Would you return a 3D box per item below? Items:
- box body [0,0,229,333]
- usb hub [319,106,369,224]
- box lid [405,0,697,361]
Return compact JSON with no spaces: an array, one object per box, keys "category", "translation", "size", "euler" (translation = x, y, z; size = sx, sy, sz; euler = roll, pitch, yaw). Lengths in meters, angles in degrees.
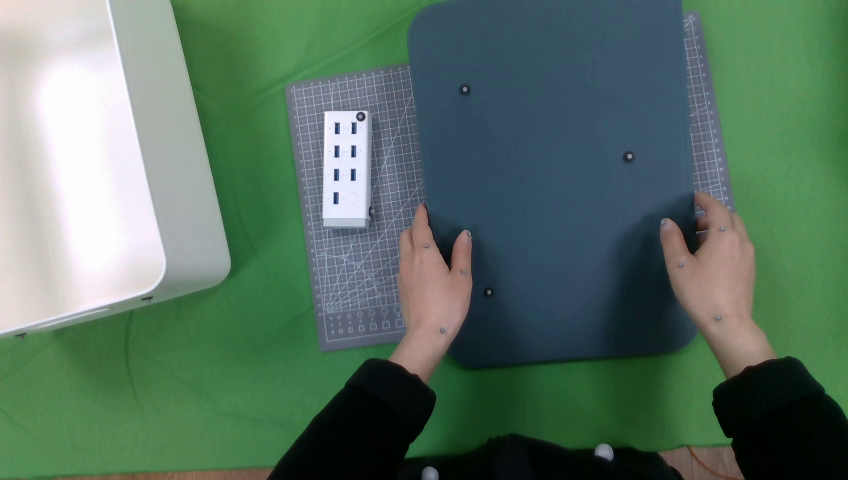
[{"category":"box body","translation":[-0.373,-0.101,0.617],"size":[0.254,0.161,0.363],"euler":[-15,86,5]},{"category":"usb hub","translation":[-0.085,-0.080,0.652],"size":[0.049,0.025,0.125],"euler":[1,88,5]},{"category":"box lid","translation":[0.128,-0.061,0.603],"size":[0.263,0.015,0.372],"euler":[-6,98,6]}]
